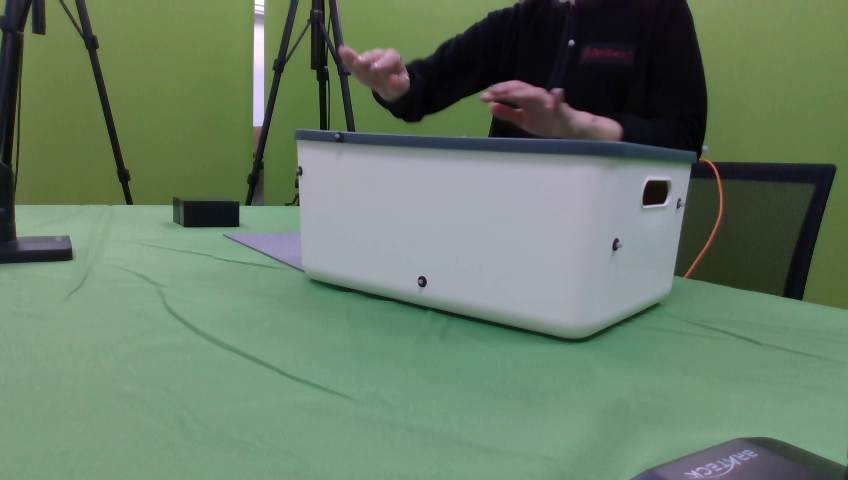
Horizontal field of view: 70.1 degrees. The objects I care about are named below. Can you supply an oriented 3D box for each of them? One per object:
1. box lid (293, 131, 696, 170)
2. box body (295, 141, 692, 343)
[{"bbox_3d":[0.069,-0.094,0.645,0.369,0.015,0.265,9,9,37],"label":"box lid"},{"bbox_3d":[0.065,-0.020,0.653,0.362,0.160,0.255,9,9,36],"label":"box body"}]
